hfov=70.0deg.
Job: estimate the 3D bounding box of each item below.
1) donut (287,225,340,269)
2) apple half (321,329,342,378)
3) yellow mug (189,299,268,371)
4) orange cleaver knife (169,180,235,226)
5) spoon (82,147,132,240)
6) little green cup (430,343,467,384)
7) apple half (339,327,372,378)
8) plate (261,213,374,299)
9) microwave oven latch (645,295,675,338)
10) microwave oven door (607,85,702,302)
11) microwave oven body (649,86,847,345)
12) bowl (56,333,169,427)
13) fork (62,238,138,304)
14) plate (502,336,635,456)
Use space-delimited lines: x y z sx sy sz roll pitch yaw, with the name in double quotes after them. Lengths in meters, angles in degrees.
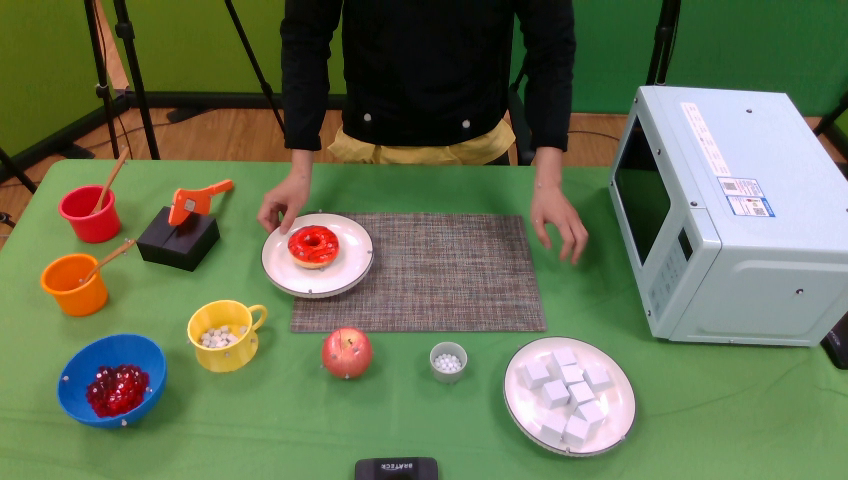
-0.207 0.013 1.139 0.099 0.048 0.098 3 45 -3 "donut"
-0.149 0.186 0.972 0.033 0.081 0.080 -2 46 -12 "apple half"
-0.316 0.148 1.002 0.131 0.064 0.099 -33 56 -31 "yellow mug"
-0.436 -0.076 1.199 0.012 0.077 0.211 17 17 9 "orange cleaver knife"
-0.602 -0.089 1.156 0.041 0.022 0.193 27 95 19 "spoon"
0.039 0.203 0.994 0.061 0.039 0.061 2 46 -2 "little green cup"
-0.111 0.183 0.980 0.053 0.075 0.080 -2 42 -12 "apple half"
-0.198 0.032 1.137 0.209 0.038 0.208 2 46 -2 "plate"
0.412 0.134 1.061 0.030 0.029 0.078 3 45 0 "microwave oven latch"
0.423 -0.094 1.140 0.039 0.245 0.353 2 46 -1 "microwave oven door"
0.568 -0.053 1.118 0.326 0.261 0.439 2 45 -1 "microwave oven body"
-0.456 0.223 0.911 0.151 0.077 0.150 3 45 -2 "bowl"
-0.547 0.053 1.018 0.207 0.019 0.028 -36 41 23 "fork"
0.225 0.248 0.963 0.208 0.039 0.206 2 46 -2 "plate"
